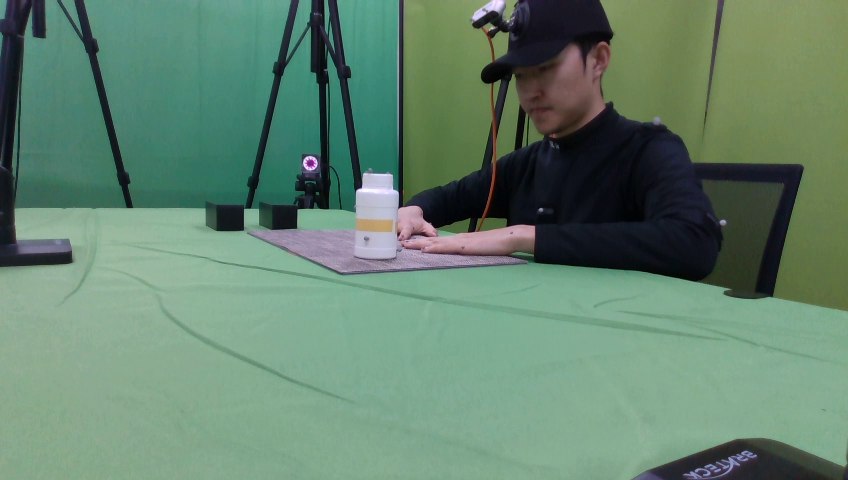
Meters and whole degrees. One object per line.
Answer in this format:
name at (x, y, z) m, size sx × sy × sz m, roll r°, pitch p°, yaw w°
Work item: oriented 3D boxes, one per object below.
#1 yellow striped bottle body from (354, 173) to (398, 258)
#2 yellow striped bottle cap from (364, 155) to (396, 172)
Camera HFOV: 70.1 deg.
yellow striped bottle body at (-0.069, -0.037, 0.873) m, size 0.063 × 0.120 × 0.063 m, roll 2°, pitch 7°, yaw 0°
yellow striped bottle cap at (-0.063, -0.109, 0.859) m, size 0.044 × 0.018 × 0.044 m, roll 9°, pitch 6°, yaw -1°
